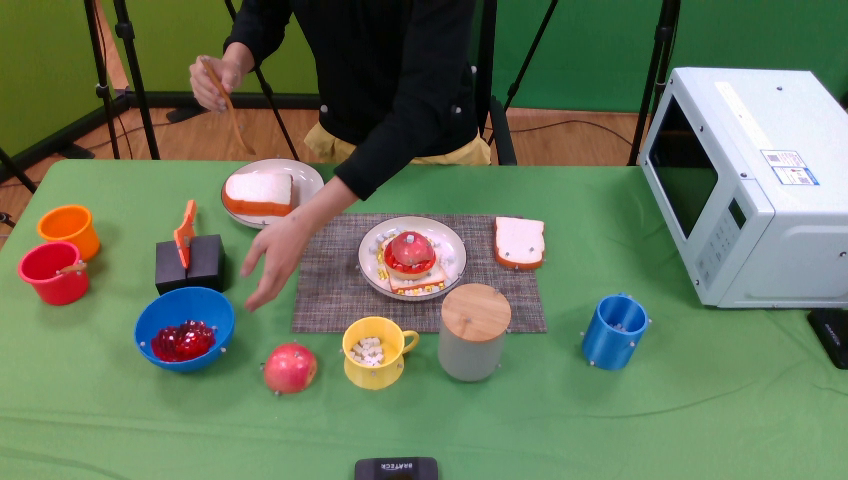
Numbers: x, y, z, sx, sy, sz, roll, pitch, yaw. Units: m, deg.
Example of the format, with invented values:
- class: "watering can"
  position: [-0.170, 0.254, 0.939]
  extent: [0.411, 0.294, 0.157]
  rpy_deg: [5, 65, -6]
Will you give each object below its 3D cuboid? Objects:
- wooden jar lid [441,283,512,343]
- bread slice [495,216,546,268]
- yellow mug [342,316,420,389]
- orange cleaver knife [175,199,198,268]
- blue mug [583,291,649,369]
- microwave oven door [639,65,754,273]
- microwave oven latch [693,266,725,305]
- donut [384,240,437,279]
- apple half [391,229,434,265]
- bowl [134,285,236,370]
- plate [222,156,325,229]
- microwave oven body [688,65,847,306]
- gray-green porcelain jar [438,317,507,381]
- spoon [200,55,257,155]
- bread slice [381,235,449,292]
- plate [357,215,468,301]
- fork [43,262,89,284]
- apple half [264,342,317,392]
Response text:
- class: "wooden jar lid"
  position: [0.080, 0.114, 0.931]
  extent: [0.108, 0.021, 0.107]
  rpy_deg: [1, 49, -1]
- class: "bread slice"
  position: [0.194, 0.002, 1.204]
  extent: [0.105, 0.019, 0.131]
  rpy_deg: [5, 45, 2]
- class: "yellow mug"
  position: [-0.067, 0.178, 0.990]
  extent: [0.131, 0.064, 0.099]
  rpy_deg: [-16, 49, -19]
- class: "orange cleaver knife"
  position: [-0.438, -0.017, 1.138]
  extent: [0.012, 0.077, 0.210]
  rpy_deg: [-14, 27, -7]
- class: "blue mug"
  position: [0.324, 0.142, 1.023]
  extent: [0.082, 0.106, 0.116]
  rpy_deg: [15, 47, 11]
- class: "microwave oven door"
  position: [0.522, -0.147, 1.192]
  extent: [0.039, 0.245, 0.353]
  rpy_deg: [0, 47, -3]
- class: "microwave oven latch"
  position: [0.523, 0.082, 1.115]
  extent: [0.030, 0.029, 0.078]
  rpy_deg: [3, 46, 0]
- class: "donut"
  position: [-0.025, 0.029, 1.110]
  extent: [0.099, 0.048, 0.098]
  rpy_deg: [3, 46, -3]
- class: "apple half"
  position: [-0.021, 0.005, 1.083]
  extent: [0.081, 0.033, 0.081]
  rpy_deg: [7, 49, -7]
- class: "bowl"
  position: [-0.377, 0.155, 0.981]
  extent: [0.151, 0.077, 0.150]
  rpy_deg: [2, 46, -2]
- class: "plate"
  position: [-0.308, -0.095, 1.251]
  extent: [0.209, 0.038, 0.208]
  rpy_deg: [2, 46, -2]
- class: "microwave oven body"
  position: [0.669, -0.111, 1.176]
  extent: [0.326, 0.261, 0.439]
  rpy_deg: [0, 46, -3]
- class: "gray-green porcelain jar"
  position: [0.076, 0.158, 0.977]
  extent: [0.106, 0.127, 0.105]
  rpy_deg: [2, 47, -2]
- class: "spoon"
  position: [-0.327, -0.223, 1.019]
  extent: [0.021, 0.195, 0.041]
  rpy_deg: [-20, 41, -7]
- class: "bread slice"
  position: [-0.027, 0.040, 1.141]
  extent: [0.107, 0.018, 0.133]
  rpy_deg: [-12, 49, -16]
- class: "plate"
  position: [-0.022, 0.037, 1.141]
  extent: [0.208, 0.039, 0.206]
  rpy_deg: [2, 46, -2]
- class: "fork"
  position: [-0.599, 0.053, 1.014]
  extent: [0.207, 0.019, 0.028]
  rpy_deg: [-14, 30, 45]
- class: "apple half"
  position: [-0.214, 0.198, 0.970]
  extent: [0.074, 0.053, 0.080]
  rpy_deg: [19, 48, 10]
